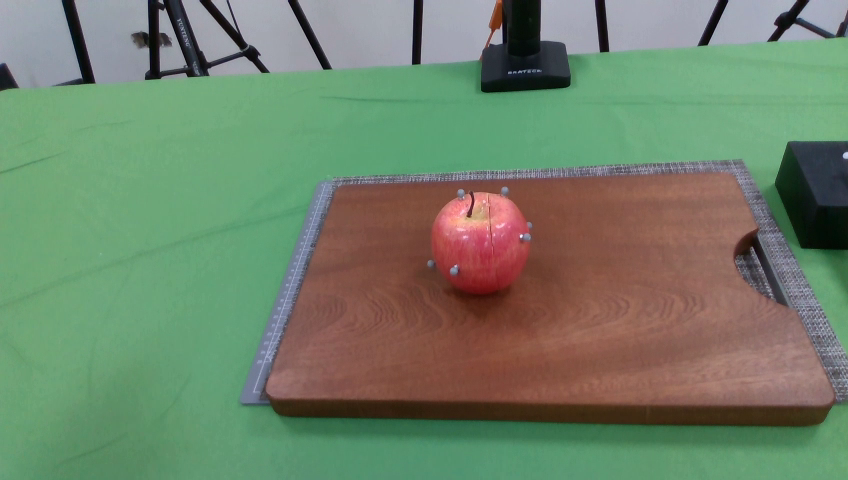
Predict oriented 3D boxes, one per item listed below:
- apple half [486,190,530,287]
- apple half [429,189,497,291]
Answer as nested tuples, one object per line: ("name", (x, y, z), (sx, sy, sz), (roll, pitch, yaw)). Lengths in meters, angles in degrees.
("apple half", (0.070, -0.002, 0.496), (0.033, 0.082, 0.080), (-7, 41, 7))
("apple half", (0.032, 0.002, 0.500), (0.053, 0.075, 0.080), (-7, 45, 8))
